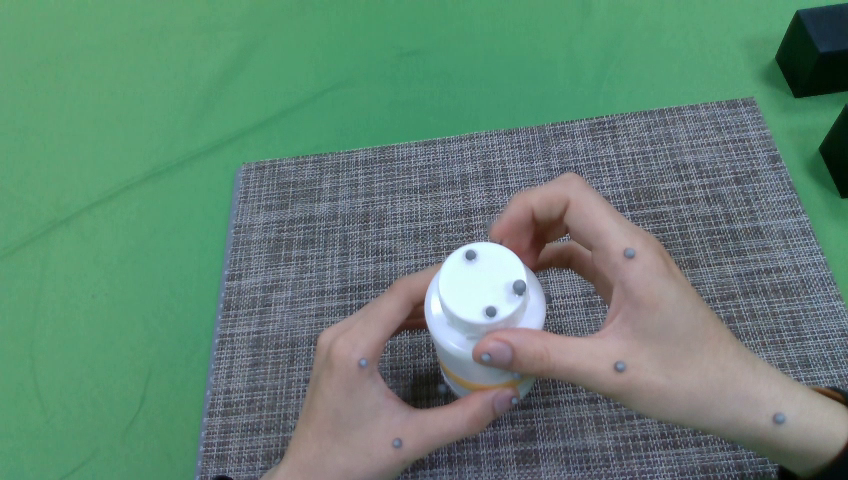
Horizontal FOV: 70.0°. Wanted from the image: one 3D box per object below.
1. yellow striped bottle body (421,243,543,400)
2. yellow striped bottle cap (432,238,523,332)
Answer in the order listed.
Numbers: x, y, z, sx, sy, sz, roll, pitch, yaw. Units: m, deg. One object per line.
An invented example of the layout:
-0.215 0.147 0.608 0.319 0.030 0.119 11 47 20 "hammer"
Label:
0.032 0.046 0.338 0.063 0.121 0.062 -2 63 4 "yellow striped bottle body"
0.026 0.021 0.292 0.044 0.019 0.044 -2 59 3 "yellow striped bottle cap"
